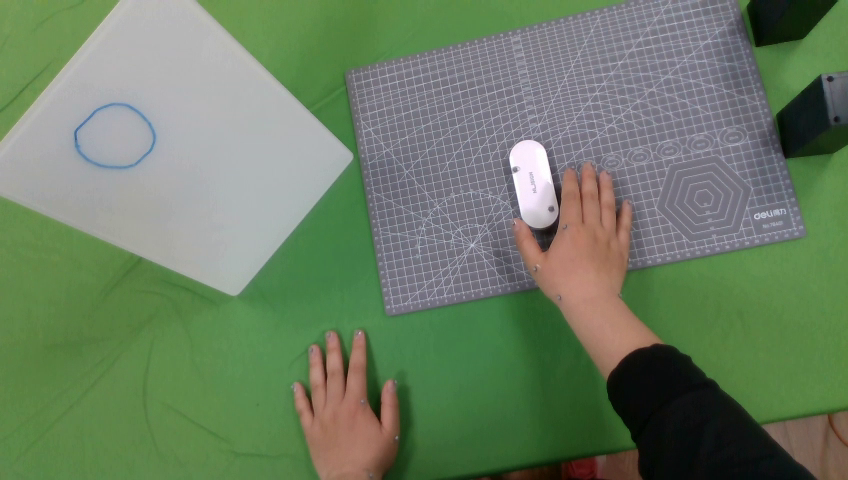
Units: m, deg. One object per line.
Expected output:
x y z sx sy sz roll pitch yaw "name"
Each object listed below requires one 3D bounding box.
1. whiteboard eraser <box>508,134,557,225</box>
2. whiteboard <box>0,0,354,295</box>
0.118 -0.067 0.663 0.041 0.019 0.101 -11 81 6 "whiteboard eraser"
-0.254 -0.109 0.613 0.142 0.308 0.217 39 89 32 "whiteboard"
